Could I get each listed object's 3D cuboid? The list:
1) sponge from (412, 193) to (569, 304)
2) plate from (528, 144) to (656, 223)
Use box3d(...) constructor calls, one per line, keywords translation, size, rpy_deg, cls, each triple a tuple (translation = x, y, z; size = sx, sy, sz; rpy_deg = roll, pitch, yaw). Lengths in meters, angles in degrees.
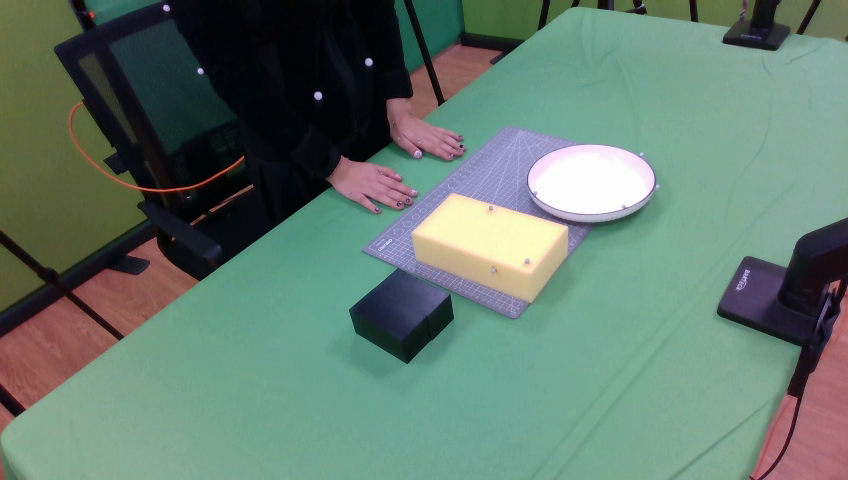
box3d(translation=(0.101, 0.007, 0.922), size=(0.205, 0.061, 0.118), rpy_deg=(19, 48, 29), cls="sponge")
box3d(translation=(0.281, -0.093, 1.023), size=(0.209, 0.038, 0.208), rpy_deg=(-5, 40, 5), cls="plate")
